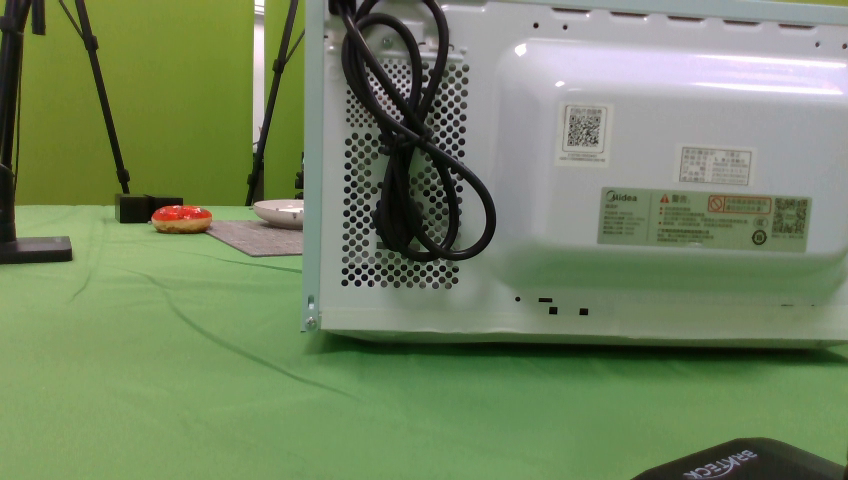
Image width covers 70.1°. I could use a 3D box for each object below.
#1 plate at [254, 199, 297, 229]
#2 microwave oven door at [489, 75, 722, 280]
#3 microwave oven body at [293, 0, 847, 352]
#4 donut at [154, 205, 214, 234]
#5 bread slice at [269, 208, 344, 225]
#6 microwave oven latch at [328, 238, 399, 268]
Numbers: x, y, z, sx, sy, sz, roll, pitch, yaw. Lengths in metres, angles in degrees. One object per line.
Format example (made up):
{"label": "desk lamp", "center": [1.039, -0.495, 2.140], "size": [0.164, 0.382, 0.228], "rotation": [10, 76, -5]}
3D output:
{"label": "plate", "center": [-0.237, -0.051, 1.224], "size": [0.208, 0.039, 0.207], "rotation": [4, 10, 0]}
{"label": "microwave oven door", "center": [0.227, -0.093, 0.846], "size": [0.039, 0.243, 0.354], "rotation": [-3, 9, -36]}
{"label": "microwave oven body", "center": [0.122, -0.055, 0.550], "size": [0.442, 0.260, 0.325], "rotation": [3, 7, -5]}
{"label": "donut", "center": [-0.426, -0.037, 1.075], "size": [0.099, 0.048, 0.099], "rotation": [2, 12, 0]}
{"label": "bread slice", "center": [-0.242, -0.049, 1.219], "size": [0.104, 0.019, 0.132], "rotation": [10, 12, 36]}
{"label": "microwave oven latch", "center": [-0.069, 0.015, 0.694], "size": [0.079, 0.029, 0.030], "rotation": [3, 7, -3]}
